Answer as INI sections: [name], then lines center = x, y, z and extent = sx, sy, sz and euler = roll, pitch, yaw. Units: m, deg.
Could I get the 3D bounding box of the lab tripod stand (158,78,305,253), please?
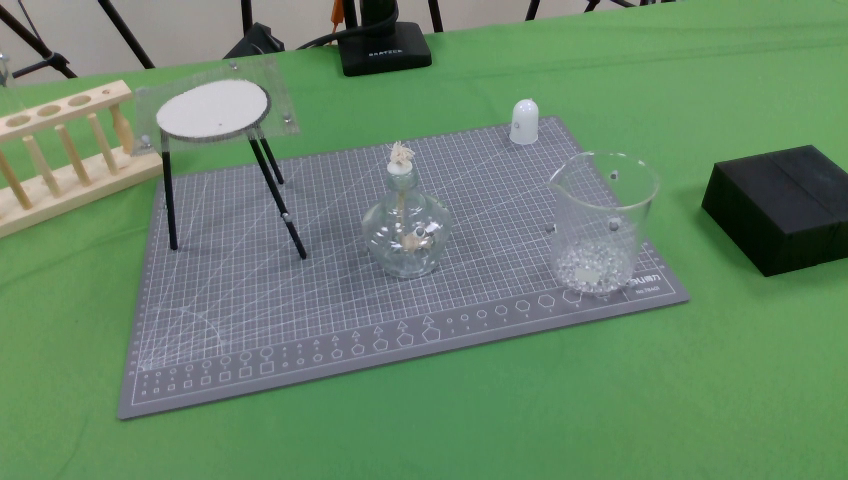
[lab tripod stand]
center = -0.170, -0.062, 0.536
extent = 0.148, 0.133, 0.147
euler = -2, 45, 2

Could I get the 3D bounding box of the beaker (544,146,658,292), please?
[beaker]
center = 0.137, -0.013, 0.490
extent = 0.084, 0.101, 0.073
euler = 3, 43, 8

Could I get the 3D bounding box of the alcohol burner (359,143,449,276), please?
[alcohol burner]
center = -0.018, -0.028, 0.505
extent = 0.078, 0.120, 0.077
euler = -2, 41, 2

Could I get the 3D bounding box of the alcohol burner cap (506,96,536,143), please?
[alcohol burner cap]
center = 0.107, -0.134, 0.663
extent = 0.034, 0.048, 0.033
euler = -2, 43, 2

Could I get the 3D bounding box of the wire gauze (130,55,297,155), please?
[wire gauze]
center = -0.174, -0.110, 0.489
extent = 0.125, 0.011, 0.120
euler = -15, 44, -11

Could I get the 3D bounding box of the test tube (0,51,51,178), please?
[test tube]
center = -0.395, -0.127, 0.585
extent = 0.017, 0.151, 0.017
euler = 0, 37, 0

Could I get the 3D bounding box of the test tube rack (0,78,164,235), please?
[test tube rack]
center = -0.398, -0.072, 0.601
extent = 0.242, 0.086, 0.066
euler = -28, 48, -24
